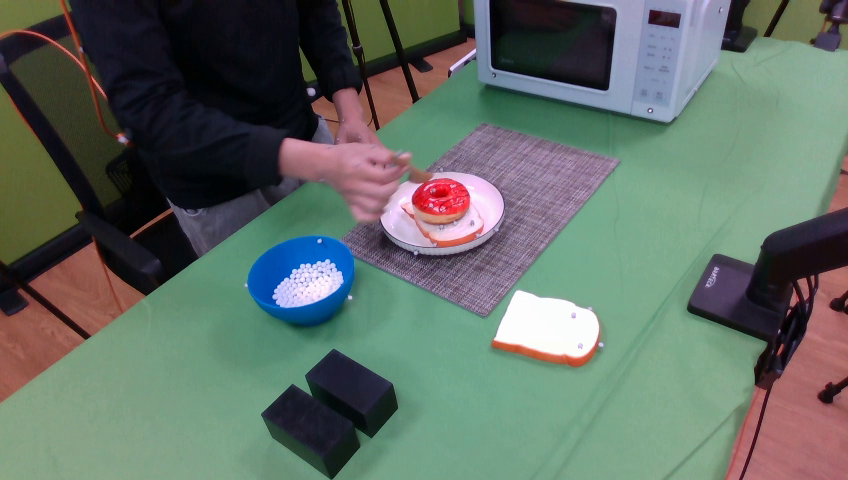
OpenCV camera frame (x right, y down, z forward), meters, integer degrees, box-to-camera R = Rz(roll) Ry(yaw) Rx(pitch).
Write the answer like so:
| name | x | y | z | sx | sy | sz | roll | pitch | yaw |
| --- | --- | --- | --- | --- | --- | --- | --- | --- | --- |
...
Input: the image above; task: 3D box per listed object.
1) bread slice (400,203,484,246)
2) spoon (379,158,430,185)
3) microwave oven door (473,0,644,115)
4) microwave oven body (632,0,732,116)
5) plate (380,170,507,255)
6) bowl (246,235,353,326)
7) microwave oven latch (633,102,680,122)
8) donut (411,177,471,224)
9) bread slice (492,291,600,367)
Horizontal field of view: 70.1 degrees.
| name | x | y | z | sx | sy | sz | roll | pitch | yaw |
| --- | --- | --- | --- | --- | --- | --- | --- | --- | --- |
| bread slice | 0.037 | -0.037 | 0.991 | 0.107 | 0.018 | 0.133 | -23 | 41 | -17 |
| spoon | -0.030 | -0.094 | 0.818 | 0.041 | 0.194 | 0.021 | -9 | 84 | 14 |
| microwave oven door | 0.257 | -0.396 | 1.199 | 0.353 | 0.245 | 0.039 | 21 | 48 | 29 |
| microwave oven body | 0.377 | -0.462 | 1.267 | 0.438 | 0.261 | 0.327 | 21 | 48 | 30 |
| plate | 0.033 | -0.042 | 0.995 | 0.207 | 0.039 | 0.206 | -4 | 40 | 4 |
| bowl | -0.170 | 0.070 | 0.868 | 0.151 | 0.077 | 0.150 | -4 | 41 | 4 |
| microwave oven latch | 0.444 | -0.249 | 1.157 | 0.078 | 0.029 | 0.030 | 21 | 49 | 30 |
| donut | 0.028 | -0.064 | 0.978 | 0.099 | 0.048 | 0.098 | -3 | 40 | 3 |
| bread slice | 0.169 | 0.118 | 0.811 | 0.131 | 0.019 | 0.105 | 11 | 44 | 21 |
